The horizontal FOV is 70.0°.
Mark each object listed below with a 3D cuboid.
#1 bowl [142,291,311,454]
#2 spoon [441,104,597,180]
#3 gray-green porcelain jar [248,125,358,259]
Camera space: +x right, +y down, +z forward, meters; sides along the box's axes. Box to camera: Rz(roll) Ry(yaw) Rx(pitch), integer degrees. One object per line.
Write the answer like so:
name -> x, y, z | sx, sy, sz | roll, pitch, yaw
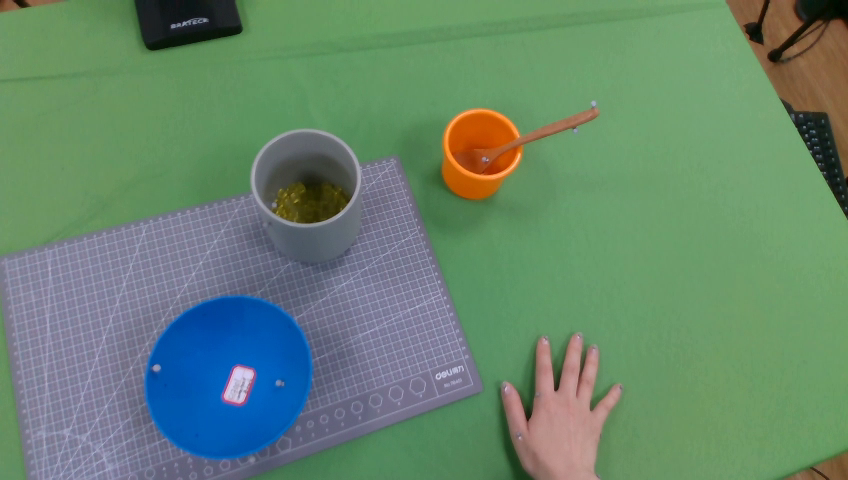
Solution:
bowl -> -0.185, 0.132, 0.595 | 0.152, 0.077, 0.150 | 3, 71, -7
spoon -> 0.101, -0.111, 0.681 | 0.022, 0.193, 0.041 | 16, 62, -49
gray-green porcelain jar -> -0.122, -0.043, 0.637 | 0.106, 0.127, 0.105 | 2, 70, -6
